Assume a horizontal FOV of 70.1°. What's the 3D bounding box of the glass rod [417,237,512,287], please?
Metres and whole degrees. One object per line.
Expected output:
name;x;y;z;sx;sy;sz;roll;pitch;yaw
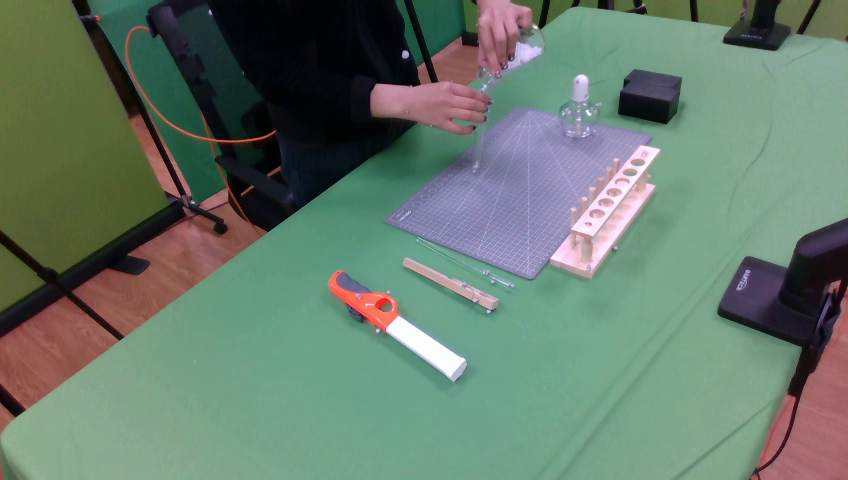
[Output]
glass rod;0.058;0.032;0.944;0.198;0.008;0.008;26;52;38

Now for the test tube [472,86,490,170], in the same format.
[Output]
test tube;0.099;-0.194;1.057;0.017;0.150;0.017;4;29;-2

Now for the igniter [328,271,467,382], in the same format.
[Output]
igniter;-0.049;0.114;0.854;0.274;0.025;0.057;29;63;37

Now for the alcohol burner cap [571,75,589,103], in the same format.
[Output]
alcohol burner cap;0.294;-0.284;1.131;0.034;0.048;0.033;-4;46;5

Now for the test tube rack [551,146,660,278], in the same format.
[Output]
test tube rack;0.286;-0.053;0.943;0.066;0.085;0.243;21;49;32

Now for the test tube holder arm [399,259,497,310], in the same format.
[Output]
test tube holder arm;0.033;0.064;0.902;0.177;0.015;0.013;23;12;32

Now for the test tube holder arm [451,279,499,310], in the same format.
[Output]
test tube holder arm;0.071;0.079;0.882;0.087;0.015;0.010;23;13;33

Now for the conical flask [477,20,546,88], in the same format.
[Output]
conical flask;0.143;-0.310;1.027;0.122;0.076;0.074;-44;49;-15

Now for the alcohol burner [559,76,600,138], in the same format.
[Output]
alcohol burner;0.298;-0.258;1.156;0.078;0.119;0.077;-4;39;4
